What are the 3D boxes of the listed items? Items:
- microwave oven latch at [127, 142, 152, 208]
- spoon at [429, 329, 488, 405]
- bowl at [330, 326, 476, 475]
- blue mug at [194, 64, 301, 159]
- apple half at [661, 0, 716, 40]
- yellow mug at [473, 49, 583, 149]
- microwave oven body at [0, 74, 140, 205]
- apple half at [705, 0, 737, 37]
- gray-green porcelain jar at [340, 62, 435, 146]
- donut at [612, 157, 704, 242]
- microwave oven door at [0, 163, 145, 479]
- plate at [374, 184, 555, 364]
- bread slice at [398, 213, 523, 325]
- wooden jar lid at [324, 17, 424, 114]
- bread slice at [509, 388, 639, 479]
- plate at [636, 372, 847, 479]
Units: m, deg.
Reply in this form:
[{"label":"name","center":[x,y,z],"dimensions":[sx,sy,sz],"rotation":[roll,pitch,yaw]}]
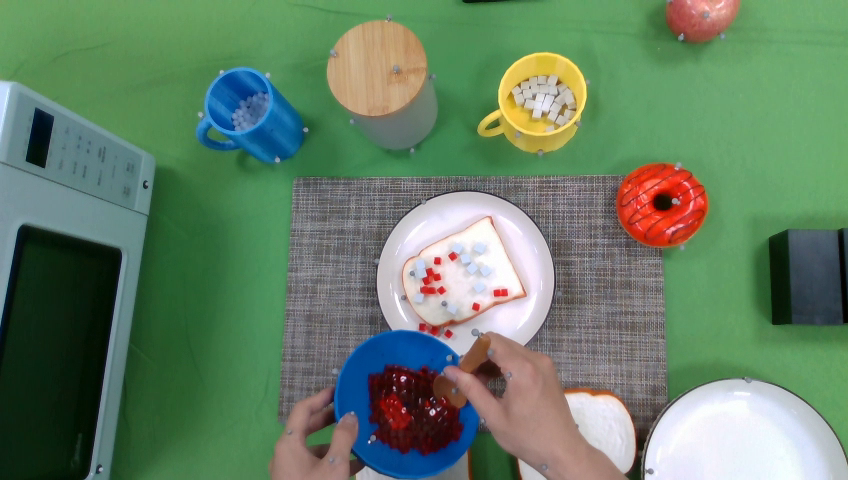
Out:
[{"label":"microwave oven latch","center":[-0.366,-0.082,0.764],"dimensions":[0.030,0.029,0.079],"rotation":[6,83,8]},{"label":"spoon","center":[0.033,0.122,0.568],"dimensions":[0.041,0.195,0.021],"rotation":[41,66,12]},{"label":"bowl","center":[-0.029,0.173,0.632],"dimensions":[0.152,0.077,0.150],"rotation":[10,57,-15]},{"label":"blue mug","center":[-0.221,-0.146,0.739],"dimensions":[0.116,0.106,0.082],"rotation":[-25,78,3]},{"label":"apple half","center":[0.297,-0.260,0.703],"dimensions":[0.033,0.081,0.081],"rotation":[-32,78,-3]},{"label":"yellow mug","center":[0.119,-0.159,0.717],"dimensions":[0.131,0.064,0.099],"rotation":[-23,79,4]},{"label":"microwave oven body","center":[-0.540,0.068,0.666],"dimensions":[0.325,0.261,0.440],"rotation":[4,82,8]},{"label":"apple half","center":[0.329,-0.282,0.704],"dimensions":[0.053,0.075,0.080],"rotation":[-31,74,-4]},{"label":"gray-green porcelain jar","center":[-0.044,-0.174,0.710],"dimensions":[0.106,0.127,0.105],"rotation":[-1,81,8]},{"label":"donut","center":[0.264,-0.046,0.688],"dimensions":[0.099,0.048,0.098],"rotation":[-1,82,7]},{"label":"microwave oven door","center":[-0.400,0.118,0.634],"dimensions":[0.039,0.245,0.354],"rotation":[3,82,8]},{"label":"plate","center":[0.047,0.040,0.707],"dimensions":[0.207,0.039,0.207],"rotation":[-1,81,8]},{"label":"bread slice","center":[0.037,0.040,0.710],"dimensions":[0.131,0.019,0.104],"rotation":[-26,79,1]},{"label":"wooden jar lid","center":[-0.052,-0.185,0.649],"dimensions":[0.108,0.021,0.108],"rotation":[-1,79,8]},{"label":"bread slice","center":[0.163,0.213,0.642],"dimensions":[0.135,0.018,0.106],"rotation":[-4,77,-13]},{"label":"plate","center":[0.330,0.244,0.642],"dimensions":[0.209,0.038,0.208],"rotation":[-1,81,8]}]
